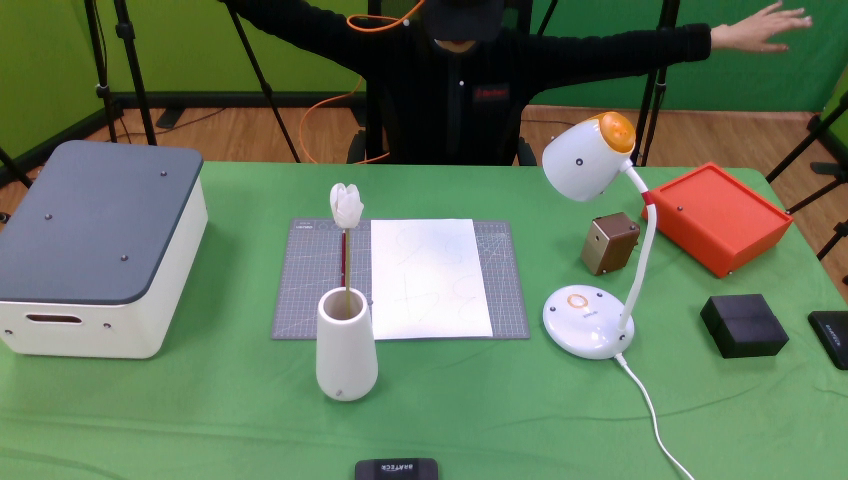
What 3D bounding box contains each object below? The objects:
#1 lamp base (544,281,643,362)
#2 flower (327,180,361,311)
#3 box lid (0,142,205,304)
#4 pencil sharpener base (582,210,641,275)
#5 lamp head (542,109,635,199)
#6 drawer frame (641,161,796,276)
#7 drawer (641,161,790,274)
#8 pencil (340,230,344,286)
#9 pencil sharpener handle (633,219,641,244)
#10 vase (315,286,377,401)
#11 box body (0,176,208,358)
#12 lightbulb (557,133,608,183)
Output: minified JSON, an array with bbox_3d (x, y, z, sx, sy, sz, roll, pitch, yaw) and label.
[{"bbox_3d":[0.304,0.095,1.014,0.161,0.181,0.178,-24,54,-24],"label":"lamp base"},{"bbox_3d":[-0.111,0.086,0.867,0.044,0.363,0.038,22,33,36],"label":"flower"},{"bbox_3d":[-0.534,-0.044,0.995,0.263,0.015,0.369,3,45,-3],"label":"box lid"},{"bbox_3d":[0.357,0.005,1.156,0.077,0.107,0.061,-15,48,-18],"label":"pencil sharpener base"},{"bbox_3d":[0.253,-0.131,0.893,0.113,0.123,0.112,10,66,-24],"label":"lamp head"},{"bbox_3d":[0.599,-0.051,1.244,0.202,0.083,0.212,-24,52,-25],"label":"drawer frame"},{"bbox_3d":[0.596,-0.051,1.246,0.194,0.073,0.210,-23,53,-25],"label":"drawer"},{"bbox_3d":[-0.154,0.044,1.148,0.012,0.012,0.192,-1,44,-5],"label":"pencil"},{"bbox_3d":[0.405,-0.015,1.162,0.031,0.068,0.035,-15,44,-18],"label":"pencil sharpener handle"},{"bbox_3d":[-0.119,0.159,0.911,0.098,0.201,0.097,2,47,-2],"label":"vase"},{"bbox_3d":[-0.546,0.017,1.045,0.254,0.161,0.361,2,46,-2],"label":"box body"},{"bbox_3d":[0.243,-0.127,0.917,0.060,0.108,0.059,6,67,-14],"label":"lightbulb"}]
